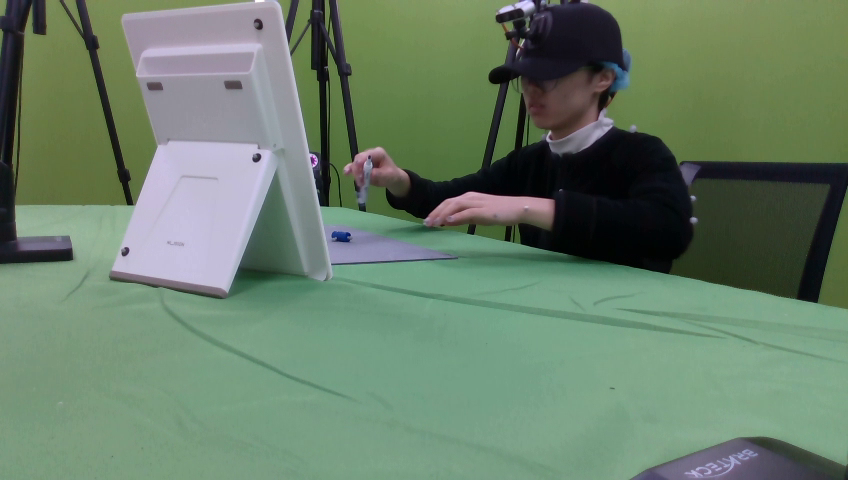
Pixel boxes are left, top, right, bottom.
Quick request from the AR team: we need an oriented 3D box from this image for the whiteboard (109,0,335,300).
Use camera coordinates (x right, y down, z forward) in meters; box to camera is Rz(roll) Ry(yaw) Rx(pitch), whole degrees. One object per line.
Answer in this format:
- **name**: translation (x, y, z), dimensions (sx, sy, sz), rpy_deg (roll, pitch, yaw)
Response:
- **whiteboard**: translation (-0.247, -0.072, 0.625), dimensions (0.216, 0.305, 0.144), rpy_deg (6, 28, 26)

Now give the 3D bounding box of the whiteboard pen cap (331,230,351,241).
- **whiteboard pen cap**: translation (-0.139, -0.007, 1.011), dimensions (0.033, 0.018, 0.018), rpy_deg (4, 7, 36)

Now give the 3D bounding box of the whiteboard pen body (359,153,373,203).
- **whiteboard pen body**: translation (-0.101, -0.109, 1.063), dimensions (0.017, 0.017, 0.140), rpy_deg (1, -30, -10)
